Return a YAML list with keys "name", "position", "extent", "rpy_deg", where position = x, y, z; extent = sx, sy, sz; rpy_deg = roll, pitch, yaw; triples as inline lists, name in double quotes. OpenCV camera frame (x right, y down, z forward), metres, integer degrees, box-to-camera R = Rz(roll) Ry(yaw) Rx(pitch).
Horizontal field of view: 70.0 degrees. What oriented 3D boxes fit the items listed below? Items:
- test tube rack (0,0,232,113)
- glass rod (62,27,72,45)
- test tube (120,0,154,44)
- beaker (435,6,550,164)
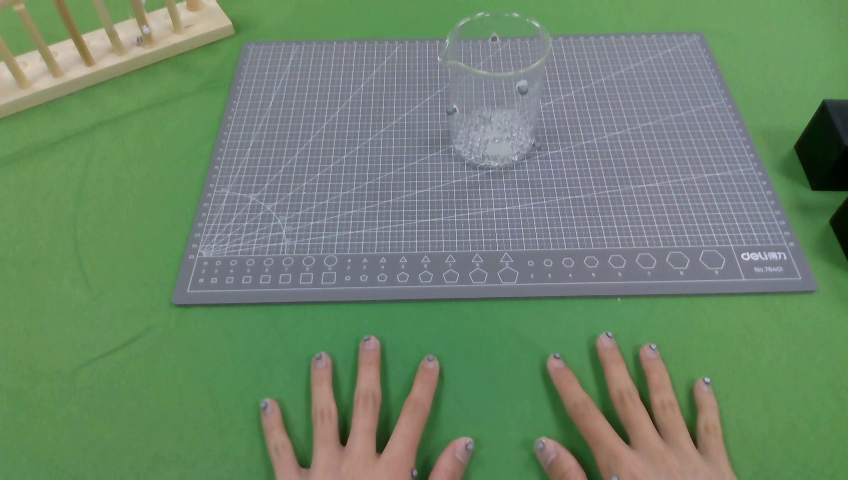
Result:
- name: "test tube rack"
  position: [-0.312, -0.204, 0.553]
  extent: [0.242, 0.086, 0.066]
  rpy_deg: [-27, 58, -17]
- name: "glass rod"
  position: [-0.337, -0.257, 0.510]
  extent: [0.008, 0.201, 0.008]
  rpy_deg: [0, 46, 0]
- name: "test tube"
  position: [-0.266, -0.238, 0.521]
  extent: [0.017, 0.151, 0.017]
  rpy_deg: [0, 51, 0]
- name: "beaker"
  position: [0.050, -0.114, 0.470]
  extent: [0.084, 0.101, 0.073]
  rpy_deg: [-16, 55, -9]
